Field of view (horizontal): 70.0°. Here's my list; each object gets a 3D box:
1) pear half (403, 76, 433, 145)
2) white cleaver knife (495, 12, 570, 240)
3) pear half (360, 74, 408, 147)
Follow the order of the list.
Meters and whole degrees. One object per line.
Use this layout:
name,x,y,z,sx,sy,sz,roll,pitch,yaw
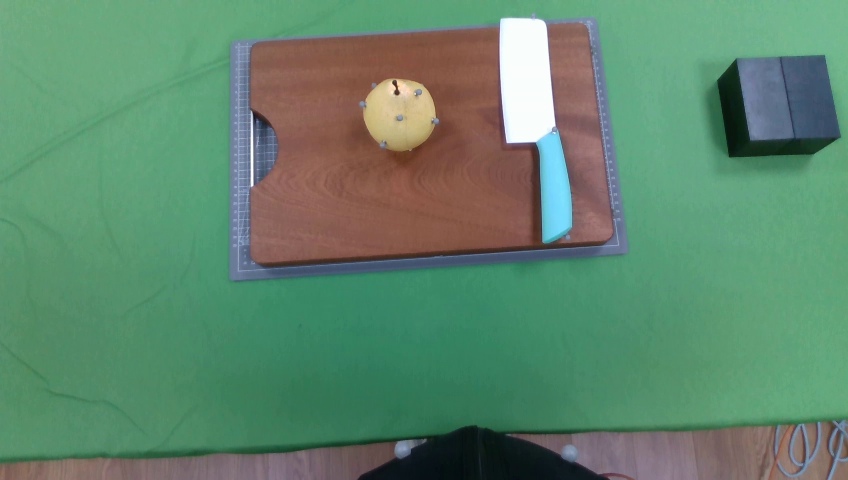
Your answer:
pear half,-0.006,-0.140,0.648,0.031,0.088,0.070,0,72,0
white cleaver knife,0.120,-0.136,0.686,0.066,0.022,0.284,-5,72,5
pear half,-0.041,-0.144,0.639,0.056,0.110,0.076,-1,72,1
